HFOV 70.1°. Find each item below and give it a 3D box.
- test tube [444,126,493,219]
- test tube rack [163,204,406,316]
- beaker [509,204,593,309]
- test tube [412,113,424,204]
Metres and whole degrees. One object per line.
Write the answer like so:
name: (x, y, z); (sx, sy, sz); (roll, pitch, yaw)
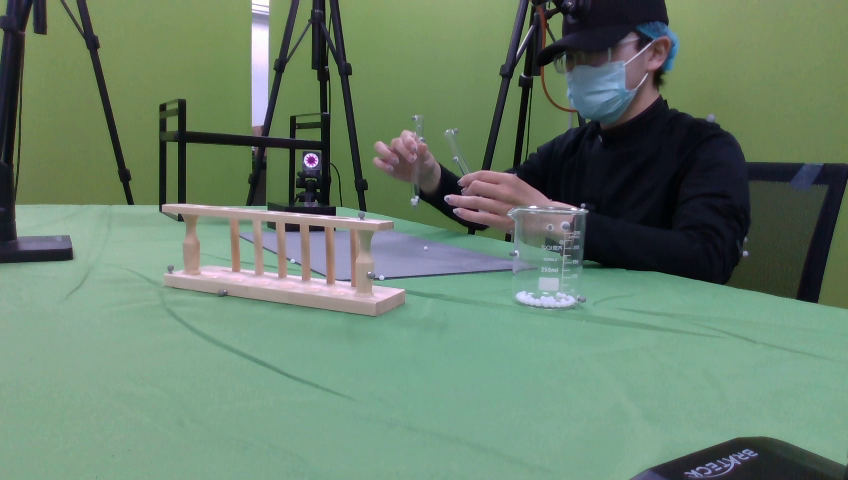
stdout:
test tube: (0.066, -0.100, 0.899); (0.017, 0.150, 0.017); (-25, 2, 1)
test tube rack: (-0.141, 0.013, 0.601); (0.241, 0.085, 0.067); (5, 8, 21)
beaker: (0.126, 0.015, 0.613); (0.084, 0.100, 0.074); (1, 7, -5)
test tube: (-0.010, -0.133, 0.994); (0.017, 0.150, 0.017); (2, 13, 0)
